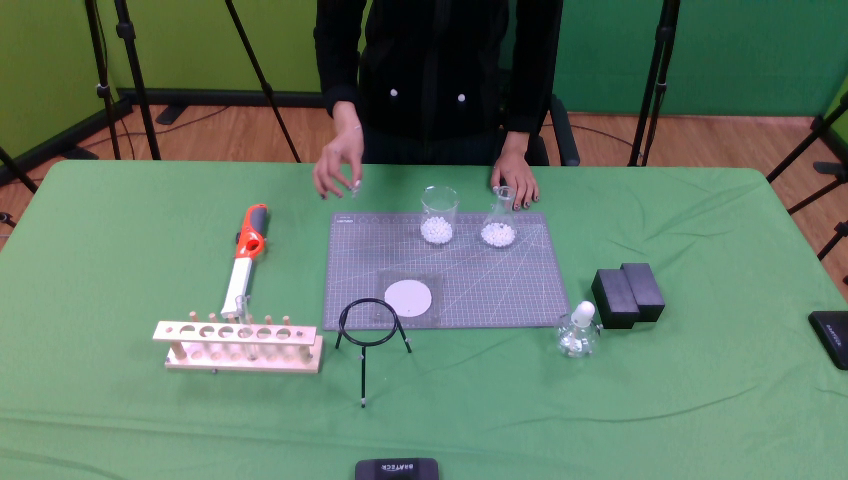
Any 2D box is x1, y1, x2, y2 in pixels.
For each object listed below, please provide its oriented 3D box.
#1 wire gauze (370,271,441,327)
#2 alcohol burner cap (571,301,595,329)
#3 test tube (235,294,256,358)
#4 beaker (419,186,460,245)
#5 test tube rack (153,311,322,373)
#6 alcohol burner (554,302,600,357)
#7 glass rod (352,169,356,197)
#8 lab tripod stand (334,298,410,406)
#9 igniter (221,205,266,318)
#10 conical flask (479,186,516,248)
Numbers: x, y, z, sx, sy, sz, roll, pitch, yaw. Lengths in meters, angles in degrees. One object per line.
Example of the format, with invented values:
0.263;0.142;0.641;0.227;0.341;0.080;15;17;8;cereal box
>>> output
-0.032;0.103;1.104;0.125;0.011;0.121;4;46;3;wire gauze
0.262;0.120;0.991;0.034;0.048;0.033;2;52;-2;alcohol burner cap
-0.274;0.136;0.933;0.017;0.151;0.017;4;46;-4;test tube
0.025;-0.047;1.190;0.074;0.101;0.083;-29;54;-29;beaker
-0.293;0.160;0.978;0.242;0.085;0.066;3;46;-2;test tube rack
0.260;0.143;1.018;0.078;0.119;0.077;3;45;-3;alcohol burner
-0.131;-0.110;1.143;0.008;0.008;0.199;-2;19;-5;glass rod
-0.086;0.164;0.957;0.148;0.132;0.147;3;44;-2;lab tripod stand
-0.338;0.030;1.140;0.057;0.025;0.274;-5;46;3;igniter
0.150;-0.049;1.186;0.075;0.122;0.075;2;46;-2;conical flask
